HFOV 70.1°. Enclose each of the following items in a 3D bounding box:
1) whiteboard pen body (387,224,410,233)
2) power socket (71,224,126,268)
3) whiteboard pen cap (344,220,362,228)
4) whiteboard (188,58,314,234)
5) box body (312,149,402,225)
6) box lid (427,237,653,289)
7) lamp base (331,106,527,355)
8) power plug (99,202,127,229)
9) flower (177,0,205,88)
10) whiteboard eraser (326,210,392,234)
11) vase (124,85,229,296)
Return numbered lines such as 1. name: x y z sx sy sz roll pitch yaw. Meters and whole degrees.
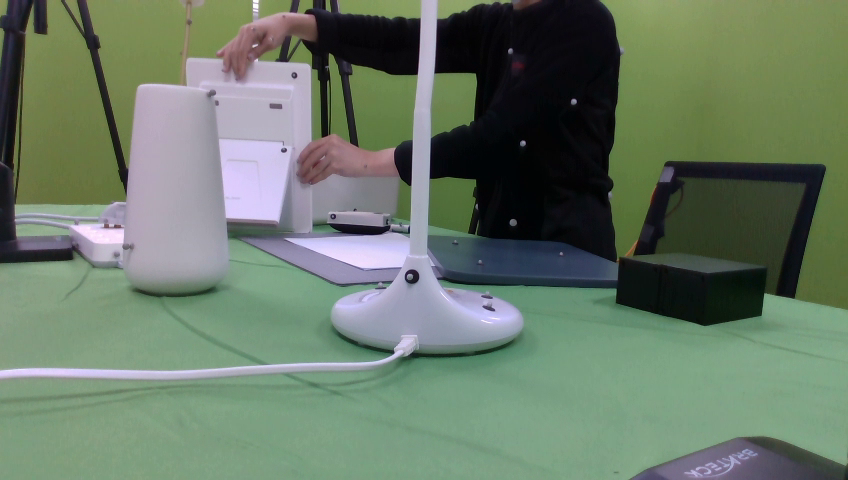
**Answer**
1. whiteboard pen body: -0.088 -0.026 1.213 0.140 0.017 0.017 5 8 17
2. power socket: -0.409 0.004 0.793 0.072 0.032 0.225 -2 8 -37
3. whiteboard pen cap: -0.144 -0.032 1.231 0.033 0.018 0.018 5 8 17
4. whiteboard: -0.312 -0.144 1.019 0.217 0.305 0.144 3 16 2
5. box body: -0.254 -0.128 1.379 0.253 0.160 0.366 8 9 36
6. box lid: 0.139 0.028 0.886 0.264 0.015 0.371 2 7 -6
7. lamp base: 0.006 -0.012 0.478 0.161 0.180 0.179 2 10 2
8. power plug: -0.414 -0.026 0.848 0.073 0.052 0.035 5 5 -27
9. flower: -0.243 -0.131 0.609 0.044 0.361 0.038 -5 -12 11
10. whiteboard eraser: -0.121 -0.033 1.131 0.112 0.042 0.056 4 8 13
11. vase: -0.244 -0.047 0.598 0.098 0.200 0.098 3 8 0
